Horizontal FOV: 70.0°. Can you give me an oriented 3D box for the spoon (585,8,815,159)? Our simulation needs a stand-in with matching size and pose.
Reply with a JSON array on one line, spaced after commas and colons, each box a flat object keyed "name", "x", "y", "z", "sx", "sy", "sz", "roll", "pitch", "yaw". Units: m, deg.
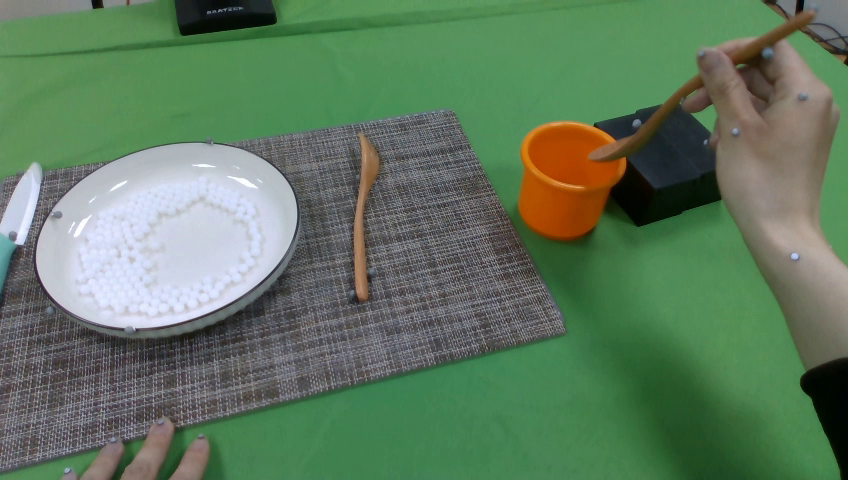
[{"name": "spoon", "x": 0.183, "y": -0.103, "z": 0.432, "sx": 0.041, "sy": 0.194, "sz": 0.021, "roll": -33, "pitch": 85, "yaw": -31}]

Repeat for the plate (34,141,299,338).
[{"name": "plate", "x": -0.209, "y": -0.003, "z": 0.513, "sx": 0.209, "sy": 0.038, "sz": 0.207, "roll": 1, "pitch": 49, "yaw": -1}]

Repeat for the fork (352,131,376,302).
[{"name": "fork", "x": -0.057, "y": -0.030, "z": 0.556, "sx": 0.018, "sy": 0.028, "sz": 0.205, "roll": -19, "pitch": 48, "yaw": 22}]

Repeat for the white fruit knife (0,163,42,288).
[{"name": "white fruit knife", "x": -0.358, "y": 0.002, "z": 0.517, "sx": 0.027, "sy": 0.016, "sz": 0.205, "roll": 15, "pitch": 41, "yaw": -28}]
